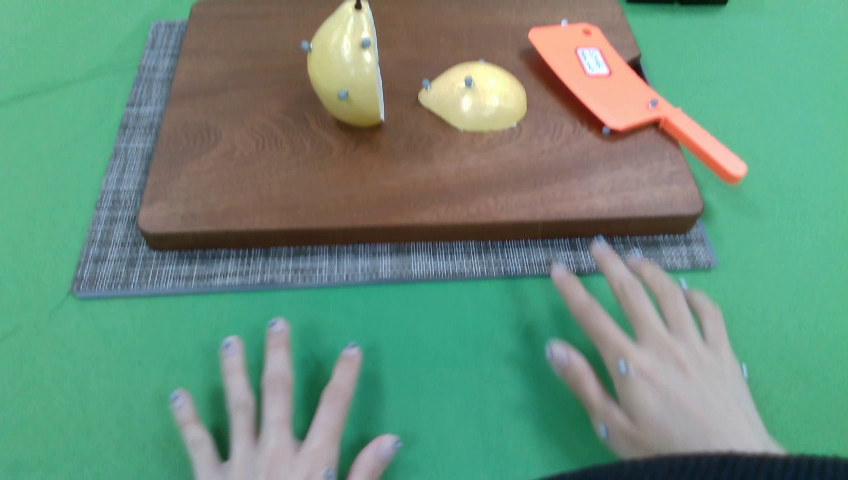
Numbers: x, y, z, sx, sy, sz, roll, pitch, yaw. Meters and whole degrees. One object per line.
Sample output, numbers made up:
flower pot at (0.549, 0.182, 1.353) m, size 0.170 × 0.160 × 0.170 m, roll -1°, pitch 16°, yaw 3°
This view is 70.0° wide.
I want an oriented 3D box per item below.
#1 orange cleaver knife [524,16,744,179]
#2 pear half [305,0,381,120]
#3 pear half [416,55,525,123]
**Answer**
orange cleaver knife at (0.163, -0.119, 0.490) m, size 0.077 × 0.012 × 0.209 m, roll -25°, pitch 63°, yaw -23°
pear half at (-0.059, -0.141, 0.437) m, size 0.056 × 0.111 × 0.075 m, roll -7°, pitch 52°, yaw -7°
pear half at (0.039, -0.127, 0.482) m, size 0.088 × 0.031 × 0.070 m, roll 5°, pitch 49°, yaw -3°
